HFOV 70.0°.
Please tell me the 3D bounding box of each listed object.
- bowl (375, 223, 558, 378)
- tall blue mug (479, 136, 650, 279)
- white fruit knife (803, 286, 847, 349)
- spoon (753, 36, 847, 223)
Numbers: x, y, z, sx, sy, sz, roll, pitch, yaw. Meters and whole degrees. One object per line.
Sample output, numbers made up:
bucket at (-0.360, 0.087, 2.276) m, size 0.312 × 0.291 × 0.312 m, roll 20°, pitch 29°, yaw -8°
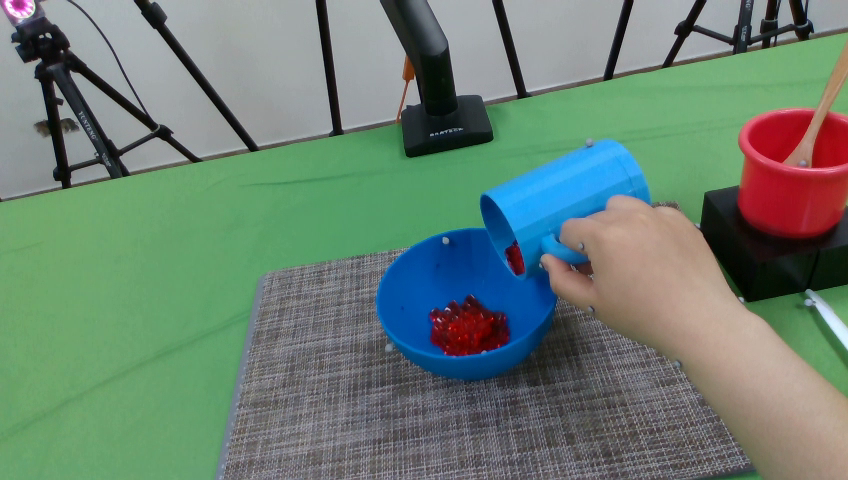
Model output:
bowl at (0.040, 0.064, 0.516) m, size 0.151 × 0.077 × 0.150 m, roll -8°, pitch 40°, yaw 7°
tall blue mug at (0.110, -0.026, 0.459) m, size 0.108 × 0.078 × 0.107 m, roll -24°, pitch 0°, yaw -7°
white fruit knife at (0.337, 0.104, 0.444) m, size 0.027 × 0.016 × 0.205 m, roll 11°, pitch 36°, yaw -13°
spoon at (0.332, -0.103, 0.507) m, size 0.041 × 0.022 × 0.194 m, roll 28°, pitch 99°, yaw 40°
